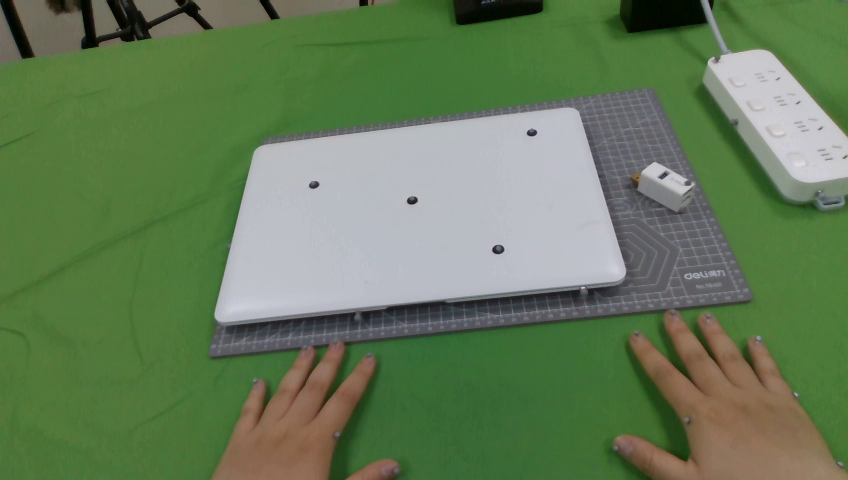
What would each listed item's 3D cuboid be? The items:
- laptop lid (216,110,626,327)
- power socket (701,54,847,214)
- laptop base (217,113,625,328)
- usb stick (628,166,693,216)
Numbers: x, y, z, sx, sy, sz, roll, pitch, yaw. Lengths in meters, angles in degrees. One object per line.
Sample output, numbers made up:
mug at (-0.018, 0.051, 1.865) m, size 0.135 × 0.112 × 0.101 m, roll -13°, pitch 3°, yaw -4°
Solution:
laptop lid at (-0.010, -0.032, 0.579) m, size 0.356 × 0.013 × 0.239 m, roll -5°, pitch 49°, yaw 6°
power socket at (0.347, -0.115, 0.599) m, size 0.072 × 0.033 × 0.224 m, roll -8°, pitch 47°, yaw 1°
laptop base at (-0.009, -0.025, 0.589) m, size 0.354 × 0.023 × 0.233 m, roll -6°, pitch 51°, yaw 4°
usb stick at (0.216, -0.049, 0.562) m, size 0.021 × 0.027 × 0.058 m, roll -34°, pitch 48°, yaw -21°
